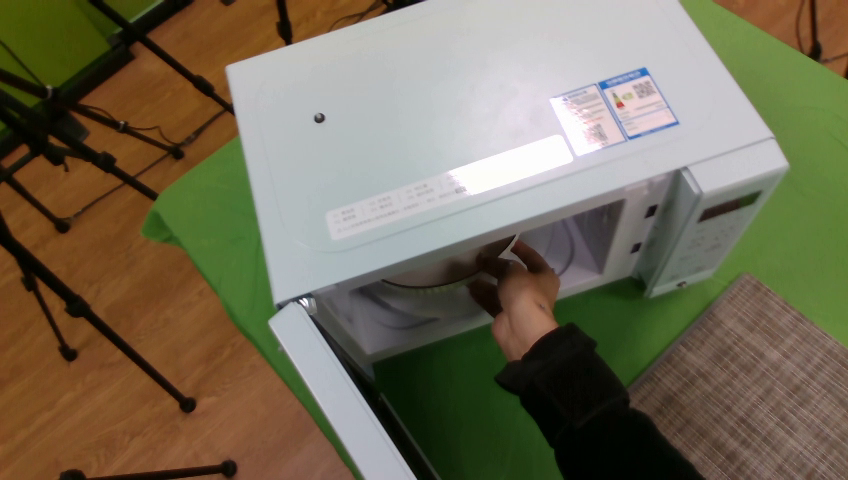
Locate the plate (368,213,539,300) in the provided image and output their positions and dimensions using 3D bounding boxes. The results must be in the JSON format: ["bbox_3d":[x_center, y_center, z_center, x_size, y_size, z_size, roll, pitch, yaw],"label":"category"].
[{"bbox_3d":[0.025,-0.019,0.677,0.209,0.038,0.207,-6,54,9],"label":"plate"}]

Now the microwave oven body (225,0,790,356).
[{"bbox_3d":[0.063,-0.081,0.661,0.442,0.262,0.323,-19,64,0],"label":"microwave oven body"}]

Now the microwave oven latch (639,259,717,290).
[{"bbox_3d":[0.287,0.030,0.685,0.079,0.030,0.030,-19,64,0],"label":"microwave oven latch"}]

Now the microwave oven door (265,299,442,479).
[{"bbox_3d":[0.000,0.224,0.520,0.039,0.246,0.352,-36,65,-9],"label":"microwave oven door"}]

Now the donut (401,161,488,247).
[{"bbox_3d":[0.023,-0.039,0.668,0.099,0.048,0.098,-5,71,15],"label":"donut"}]
